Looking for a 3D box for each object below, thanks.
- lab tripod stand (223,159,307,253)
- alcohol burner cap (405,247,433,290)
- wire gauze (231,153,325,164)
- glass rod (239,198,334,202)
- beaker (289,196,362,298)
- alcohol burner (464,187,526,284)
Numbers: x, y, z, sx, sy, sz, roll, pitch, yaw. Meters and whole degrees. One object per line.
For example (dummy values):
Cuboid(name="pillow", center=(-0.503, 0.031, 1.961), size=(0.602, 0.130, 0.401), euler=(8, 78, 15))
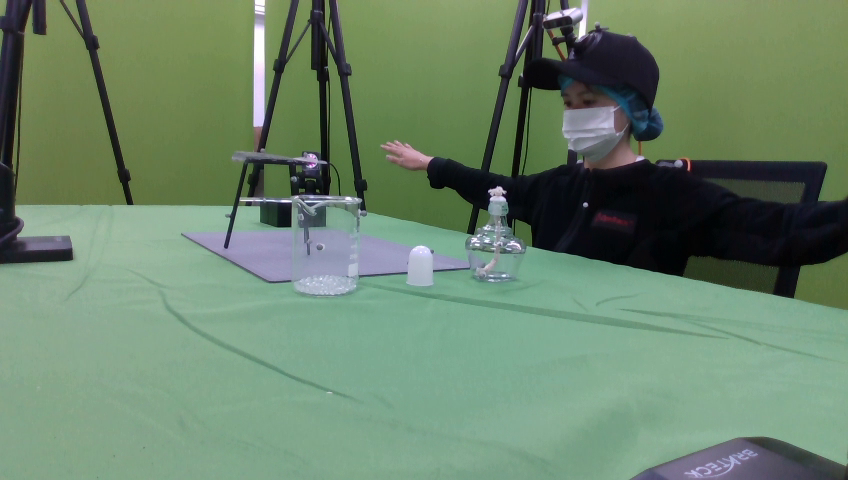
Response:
Cuboid(name="lab tripod stand", center=(-0.220, -0.053, 0.896), size=(0.148, 0.131, 0.148), euler=(1, 6, 0))
Cuboid(name="alcohol burner cap", center=(-0.005, 0.031, 0.698), size=(0.034, 0.048, 0.034), euler=(3, 8, 0))
Cuboid(name="wire gauze", center=(-0.214, -0.118, 0.881), size=(0.125, 0.011, 0.121), euler=(0, 7, -19))
Cuboid(name="glass rod", center=(-0.277, -0.081, 1.232), size=(0.201, 0.008, 0.008), euler=(-1, 8, -30))
Cuboid(name="beaker", center=(-0.104, 0.006, 0.627), size=(0.074, 0.100, 0.084), euler=(4, 8, 11))
Cuboid(name="alcohol burner", center=(0.089, -0.007, 0.747), size=(0.078, 0.119, 0.078), euler=(4, 9, 0))
